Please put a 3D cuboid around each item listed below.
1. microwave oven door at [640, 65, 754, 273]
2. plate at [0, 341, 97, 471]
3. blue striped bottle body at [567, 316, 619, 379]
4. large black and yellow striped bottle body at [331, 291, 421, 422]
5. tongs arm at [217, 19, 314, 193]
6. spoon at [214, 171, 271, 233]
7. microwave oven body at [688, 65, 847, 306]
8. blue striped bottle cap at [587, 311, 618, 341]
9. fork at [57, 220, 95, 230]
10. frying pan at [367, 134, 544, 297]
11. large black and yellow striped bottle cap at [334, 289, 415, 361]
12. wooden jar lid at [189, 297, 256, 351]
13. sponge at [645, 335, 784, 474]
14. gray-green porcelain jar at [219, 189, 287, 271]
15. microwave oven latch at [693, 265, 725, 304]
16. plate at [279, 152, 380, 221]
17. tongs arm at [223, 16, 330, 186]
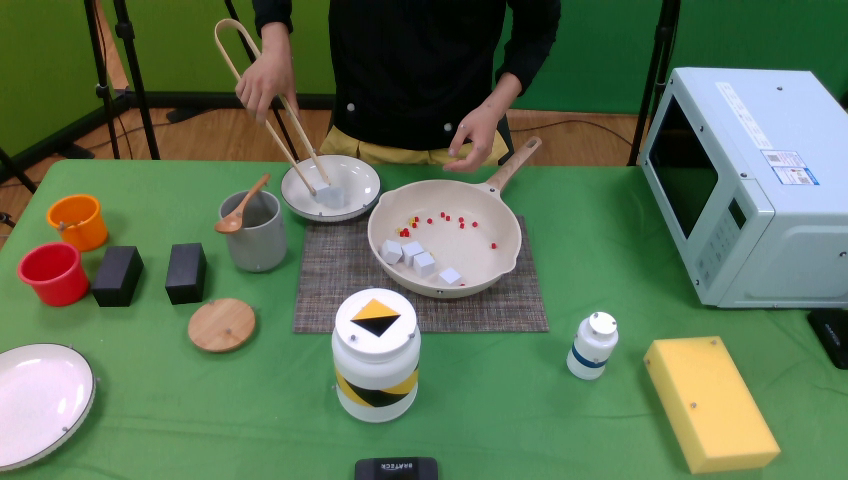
[{"bbox_3d":[0.523,-0.147,1.193,0.039,0.245,0.353,0,47,-3],"label":"microwave oven door"},{"bbox_3d":[-0.599,0.247,0.904,0.209,0.038,0.208,2,47,-2],"label":"plate"},{"bbox_3d":[0.276,0.168,0.984,0.063,0.121,0.062,2,46,-2],"label":"blue striped bottle body"},{"bbox_3d":[-0.071,0.175,0.911,0.131,0.185,0.130,2,47,-2],"label":"large black and yellow striped bottle body"},{"bbox_3d":[-0.312,-0.260,1.186,0.028,0.028,0.387,-30,88,-14],"label":"tongs arm"},{"bbox_3d":[-0.312,-0.070,1.070,0.041,0.022,0.193,10,43,10],"label":"spoon"},{"bbox_3d":[0.669,-0.111,1.176,0.326,0.261,0.439,0,46,-3],"label":"microwave oven body"},{"bbox_3d":[0.279,0.134,0.946,0.044,0.021,0.044,2,45,-2],"label":"blue striped bottle cap"},{"bbox_3d":[-0.624,-0.027,1.086,0.028,0.207,0.018,-2,91,-17],"label":"fork"},{"bbox_3d":[0.104,-0.069,1.205,0.305,0.103,0.487,32,61,23],"label":"frying pan"},{"bbox_3d":[-0.069,0.117,0.850,0.115,0.019,0.114,2,45,-2],"label":"large black and yellow striped bottle cap"},{"bbox_3d":[-0.342,0.145,1.033,0.108,0.021,0.107,2,45,-2],"label":"wooden jar lid"},{"bbox_3d":[0.449,0.253,0.956,0.118,0.061,0.205,-4,46,-7],"label":"sponge"},{"bbox_3d":[-0.310,-0.014,1.113,0.106,0.127,0.105,2,46,-2],"label":"gray-green porcelain jar"},{"bbox_3d":[0.523,0.081,1.116,0.030,0.029,0.078,2,46,-1],"label":"microwave oven latch"},{"bbox_3d":[-0.196,-0.108,1.269,0.208,0.039,0.206,2,45,-2],"label":"plate"},{"bbox_3d":[-0.292,-0.271,1.193,0.051,0.026,0.384,-25,86,-17],"label":"tongs arm"}]
